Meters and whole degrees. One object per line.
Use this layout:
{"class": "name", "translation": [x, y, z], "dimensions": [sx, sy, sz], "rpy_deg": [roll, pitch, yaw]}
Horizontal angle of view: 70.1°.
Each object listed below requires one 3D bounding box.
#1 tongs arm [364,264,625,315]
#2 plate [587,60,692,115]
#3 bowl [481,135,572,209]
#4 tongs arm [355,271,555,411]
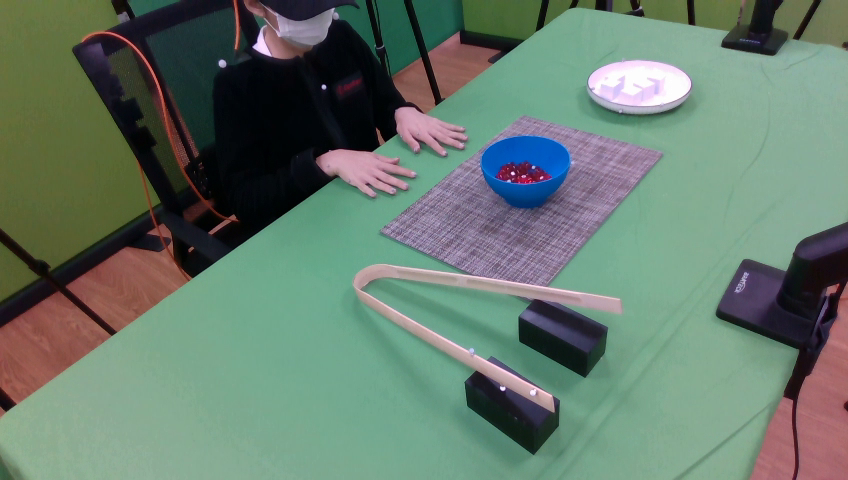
{"class": "tongs arm", "translation": [0.079, 0.066, 0.828], "dimensions": [0.385, 0.028, 0.028], "rpy_deg": [6, 44, 32]}
{"class": "plate", "translation": [0.445, -0.313, 1.263], "dimensions": [0.209, 0.038, 0.208], "rpy_deg": [-5, 40, 4]}
{"class": "bowl", "translation": [0.172, -0.106, 1.025], "dimensions": [0.151, 0.077, 0.150], "rpy_deg": [-4, 40, 4]}
{"class": "tongs arm", "translation": [0.023, 0.115, 0.778], "dimensions": [0.051, 0.027, 0.381], "rpy_deg": [-39, 38, -28]}
